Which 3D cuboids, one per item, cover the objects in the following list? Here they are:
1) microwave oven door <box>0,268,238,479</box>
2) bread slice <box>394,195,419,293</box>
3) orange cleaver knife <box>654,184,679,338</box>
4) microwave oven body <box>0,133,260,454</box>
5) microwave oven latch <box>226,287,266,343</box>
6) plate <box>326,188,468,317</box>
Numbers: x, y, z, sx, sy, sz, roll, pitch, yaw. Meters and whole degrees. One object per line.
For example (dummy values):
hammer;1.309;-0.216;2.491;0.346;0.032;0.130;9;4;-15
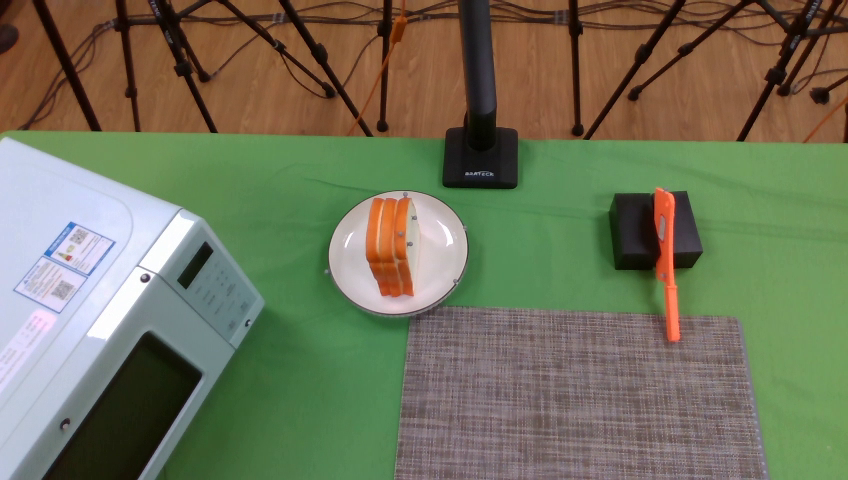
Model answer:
microwave oven door;-0.354;0.228;0.666;0.039;0.246;0.354;20;65;15
bread slice;-0.023;0.003;0.838;0.018;0.135;0.106;-1;65;6
orange cleaver knife;0.330;0.026;0.832;0.012;0.077;0.211;-3;91;3
microwave oven body;-0.468;0.148;0.724;0.324;0.262;0.439;21;66;14
microwave oven latch;-0.252;0.102;0.844;0.030;0.030;0.079;21;66;15
plate;-0.038;0.020;0.893;0.207;0.039;0.206;-2;61;3
